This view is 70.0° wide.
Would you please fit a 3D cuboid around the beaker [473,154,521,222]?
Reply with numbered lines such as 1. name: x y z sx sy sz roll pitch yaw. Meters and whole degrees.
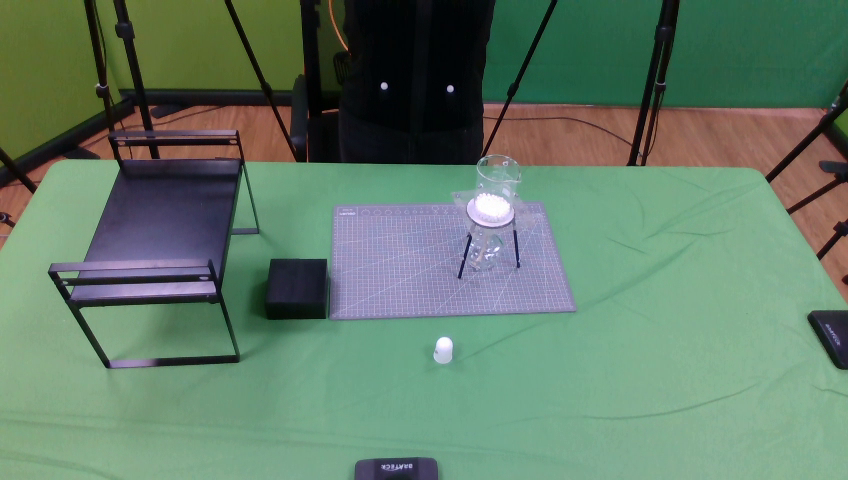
1. beaker: 0.125 -0.086 1.050 0.083 0.101 0.074 29 51 23

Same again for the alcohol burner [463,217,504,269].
1. alcohol burner: 0.114 0.000 1.139 0.078 0.119 0.077 3 48 -3

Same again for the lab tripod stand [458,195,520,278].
1. lab tripod stand: 0.115 -0.011 1.135 0.148 0.132 0.147 1 45 -1

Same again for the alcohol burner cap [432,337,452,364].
1. alcohol burner cap: 0.031 0.182 1.011 0.034 0.048 0.033 3 45 -3

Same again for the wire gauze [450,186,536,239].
1. wire gauze: 0.122 -0.056 1.088 0.121 0.011 0.124 -10 44 -16
